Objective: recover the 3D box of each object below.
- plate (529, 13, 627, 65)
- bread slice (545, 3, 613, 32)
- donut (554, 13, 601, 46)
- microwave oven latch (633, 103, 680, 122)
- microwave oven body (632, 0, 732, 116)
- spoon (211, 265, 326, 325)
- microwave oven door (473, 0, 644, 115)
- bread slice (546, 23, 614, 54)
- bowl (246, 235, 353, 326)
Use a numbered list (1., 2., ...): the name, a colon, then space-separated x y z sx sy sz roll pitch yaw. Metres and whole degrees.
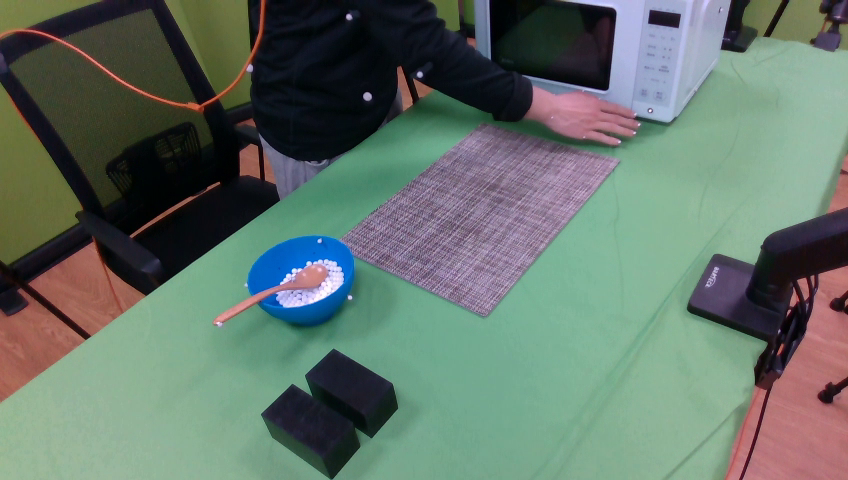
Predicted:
1. plate: 0.333 -0.433 1.316 0.207 0.039 0.206 -5 42 5
2. bread slice: 0.331 -0.475 1.281 0.131 0.019 0.104 -9 37 1
3. donut: 0.328 -0.452 1.296 0.099 0.048 0.098 -5 46 6
4. microwave oven latch: 0.443 -0.249 1.158 0.078 0.029 0.030 21 49 30
5. microwave oven body: 0.377 -0.463 1.267 0.438 0.261 0.327 21 49 30
6. spoon: -0.207 0.072 0.822 0.041 0.021 0.195 28 29 26
7. microwave oven door: 0.257 -0.396 1.199 0.353 0.245 0.039 21 48 29
8. bread slice: 0.341 -0.440 1.311 0.135 0.018 0.106 -11 48 -10
9. bowl: -0.170 0.070 0.868 0.151 0.077 0.150 -4 41 4
